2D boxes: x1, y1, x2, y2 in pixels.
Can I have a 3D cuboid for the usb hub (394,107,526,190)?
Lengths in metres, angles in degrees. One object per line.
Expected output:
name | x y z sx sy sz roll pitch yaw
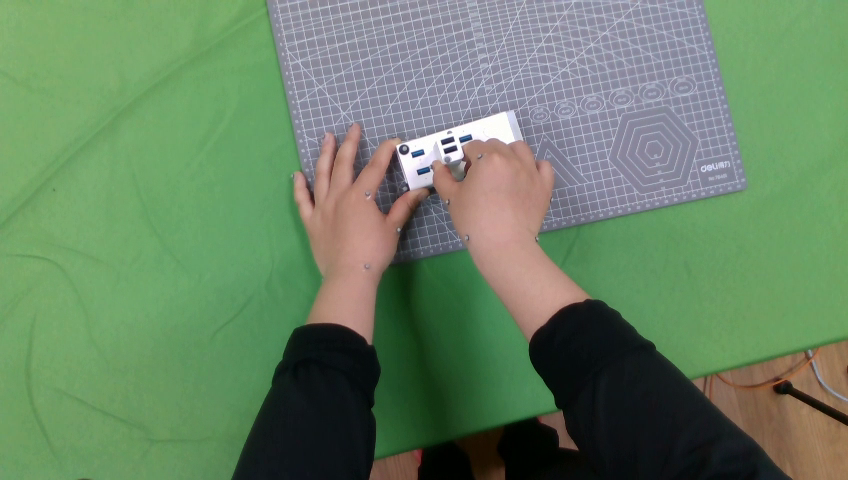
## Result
usb hub | 0.035 -0.092 0.608 0.125 0.025 0.049 -18 87 -5

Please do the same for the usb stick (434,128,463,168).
usb stick | 0.023 -0.086 0.577 0.021 0.059 0.027 -22 84 1
